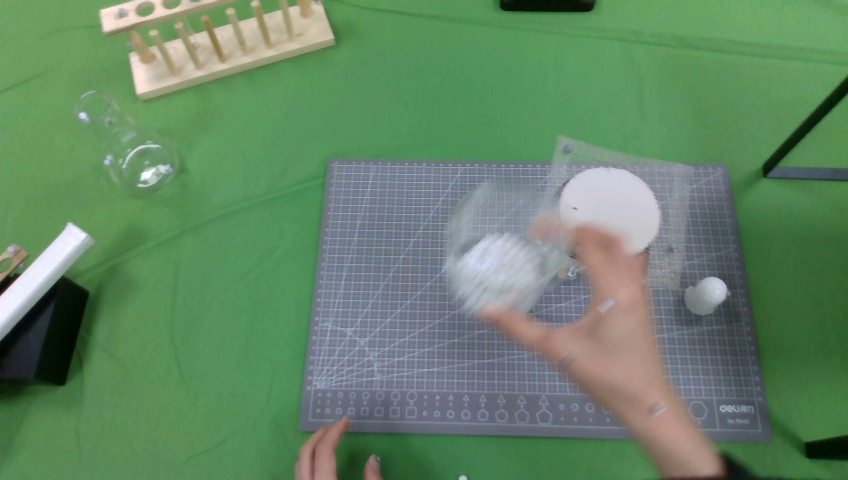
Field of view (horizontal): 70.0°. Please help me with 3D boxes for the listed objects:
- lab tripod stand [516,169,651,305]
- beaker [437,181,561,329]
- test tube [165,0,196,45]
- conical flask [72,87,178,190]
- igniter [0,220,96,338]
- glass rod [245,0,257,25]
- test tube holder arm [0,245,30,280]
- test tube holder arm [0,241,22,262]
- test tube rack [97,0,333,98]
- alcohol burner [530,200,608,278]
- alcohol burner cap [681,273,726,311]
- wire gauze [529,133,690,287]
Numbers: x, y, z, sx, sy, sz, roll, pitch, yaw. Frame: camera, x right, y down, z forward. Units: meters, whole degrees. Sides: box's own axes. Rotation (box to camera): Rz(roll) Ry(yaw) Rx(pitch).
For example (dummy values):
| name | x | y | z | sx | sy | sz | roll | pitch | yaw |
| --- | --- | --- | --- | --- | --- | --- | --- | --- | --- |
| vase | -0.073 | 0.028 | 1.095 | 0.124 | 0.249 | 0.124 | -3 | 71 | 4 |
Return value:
| name | x | y | z | sx | sy | sz | roll | pitch | yaw |
| --- | --- | --- | --- | --- | --- | --- | --- | --- | --- |
| lab tripod stand | 0.155 | 0.002 | 0.577 | 0.148 | 0.132 | 0.147 | 0 | 67 | 0 |
| beaker | 0.044 | 0.018 | 0.412 | 0.084 | 0.101 | 0.073 | -35 | 72 | -13 |
| test tube | -0.283 | -0.276 | 0.671 | 0.017 | 0.151 | 0.017 | 0 | 62 | 0 |
| conical flask | -0.320 | -0.110 | 0.640 | 0.075 | 0.123 | 0.075 | 0 | 68 | 2 |
| igniter | -0.418 | 0.093 | 0.561 | 0.057 | 0.025 | 0.276 | 29 | 71 | 22 |
| glass rod | -0.216 | -0.310 | 0.666 | 0.008 | 0.201 | 0.008 | -3 | 61 | 6 |
| test tube holder arm | -0.419 | 0.040 | 0.584 | 0.010 | 0.015 | 0.087 | 44 | 73 | -14 |
| test tube holder arm | -0.451 | 0.070 | 0.570 | 0.013 | 0.015 | 0.178 | 44 | 73 | -15 |
| test tube rack | -0.239 | -0.253 | 0.715 | 0.242 | 0.086 | 0.066 | -19 | 69 | -6 |
| alcohol burner | 0.145 | -0.007 | 0.592 | 0.078 | 0.120 | 0.077 | 0 | 67 | 0 |
| alcohol burner cap | 0.281 | 0.049 | 0.605 | 0.034 | 0.048 | 0.033 | -1 | 68 | 2 |
| wire gauze | 0.161 | -0.027 | 0.516 | 0.121 | 0.011 | 0.124 | 14 | 70 | 5 |
